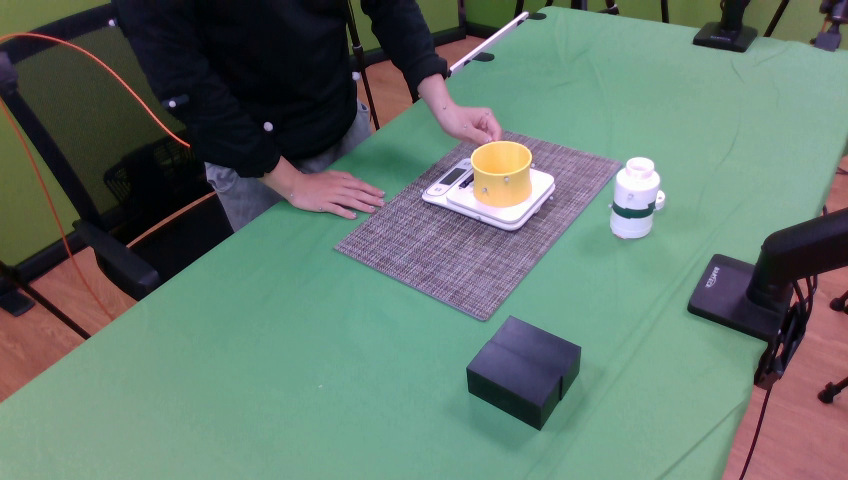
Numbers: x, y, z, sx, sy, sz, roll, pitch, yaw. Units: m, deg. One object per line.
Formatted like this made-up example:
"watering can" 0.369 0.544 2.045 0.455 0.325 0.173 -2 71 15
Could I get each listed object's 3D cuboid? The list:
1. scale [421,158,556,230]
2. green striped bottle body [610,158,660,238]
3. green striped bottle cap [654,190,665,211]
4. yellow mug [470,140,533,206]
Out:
"scale" 0.110 -0.089 1.042 0.199 0.032 0.149 23 48 31
"green striped bottle body" 0.323 -0.066 0.924 0.063 0.120 0.063 -4 41 4
"green striped bottle cap" 0.374 -0.066 0.998 0.044 0.020 0.044 -8 38 7
"yellow mug" 0.125 -0.121 1.004 0.100 0.064 0.130 -13 40 -5
